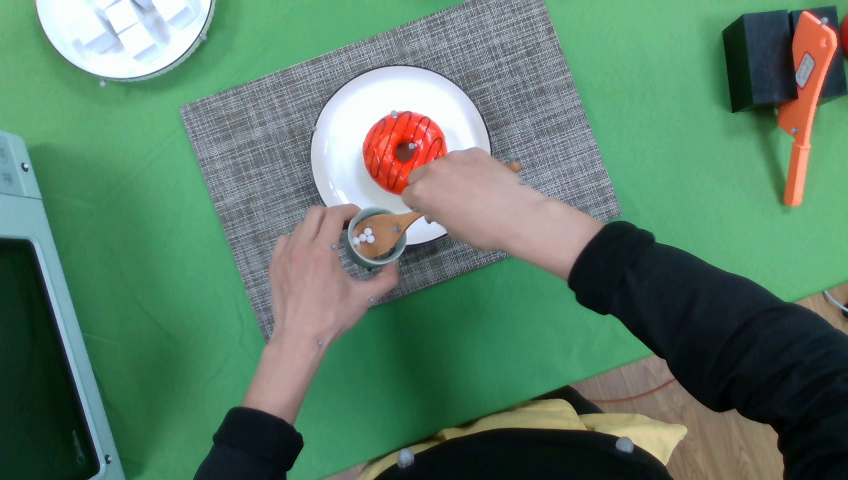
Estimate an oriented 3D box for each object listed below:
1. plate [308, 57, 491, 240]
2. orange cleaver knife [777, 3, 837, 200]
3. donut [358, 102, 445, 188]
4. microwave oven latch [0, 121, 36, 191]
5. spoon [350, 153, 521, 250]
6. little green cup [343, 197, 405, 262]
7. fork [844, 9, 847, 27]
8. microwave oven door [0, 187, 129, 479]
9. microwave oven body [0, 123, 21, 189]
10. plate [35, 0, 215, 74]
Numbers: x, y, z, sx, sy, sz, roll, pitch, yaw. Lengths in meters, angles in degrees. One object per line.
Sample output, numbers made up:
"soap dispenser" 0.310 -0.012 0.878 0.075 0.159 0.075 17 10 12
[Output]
"plate" -0.028 -0.103 0.699 0.209 0.038 0.209 0 90 1
"orange cleaver knife" 0.417 -0.150 0.677 0.012 0.076 0.213 -5 119 3
"donut" -0.025 -0.107 0.688 0.099 0.048 0.099 0 92 1
"microwave oven latch" -0.471 -0.093 0.688 0.030 0.029 0.079 -16 90 0
"spoon" 0.005 -0.036 0.571 0.193 0.022 0.041 -24 78 30
"little green cup" -0.053 -0.008 0.617 0.062 0.039 0.061 8 66 -18
"fork" 0.571 -0.248 0.644 0.206 0.019 0.028 9 88 42
"microwave oven door" -0.410 0.116 0.586 0.039 0.244 0.355 -18 89 0
"microwave oven body" -0.562 0.118 0.592 0.326 0.260 0.441 -17 90 0
"plate" -0.342 -0.294 0.706 0.208 0.039 0.207 0 90 1
